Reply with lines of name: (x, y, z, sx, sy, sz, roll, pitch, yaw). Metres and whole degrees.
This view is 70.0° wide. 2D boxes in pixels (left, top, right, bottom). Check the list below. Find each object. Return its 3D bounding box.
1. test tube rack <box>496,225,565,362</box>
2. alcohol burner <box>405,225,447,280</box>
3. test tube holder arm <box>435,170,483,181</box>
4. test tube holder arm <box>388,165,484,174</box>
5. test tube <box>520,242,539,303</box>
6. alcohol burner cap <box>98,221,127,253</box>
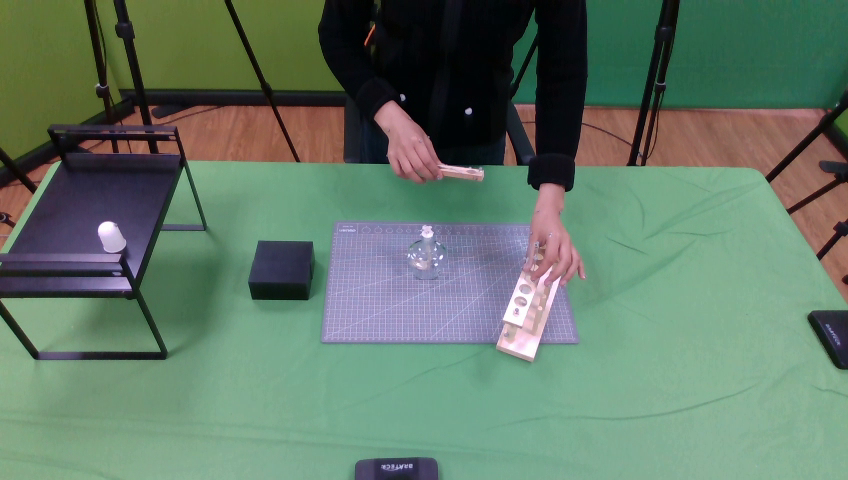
test tube rack: (0.200, 0.089, 1.081, 0.066, 0.085, 0.241, 19, 48, 13)
alcohol burner: (0.005, 0.017, 1.115, 0.078, 0.120, 0.077, 1, 47, -1)
test tube holder arm: (0.064, -0.119, 1.109, 0.088, 0.015, 0.010, 7, 59, 12)
test tube holder arm: (0.021, -0.128, 1.120, 0.178, 0.015, 0.013, 5, 59, 11)
test tube: (0.179, 0.059, 1.039, 0.017, 0.151, 0.017, 0, 47, 0)
alcohol burner cap: (-0.468, -0.007, 0.904, 0.034, 0.048, 0.033, 3, 46, -3)
